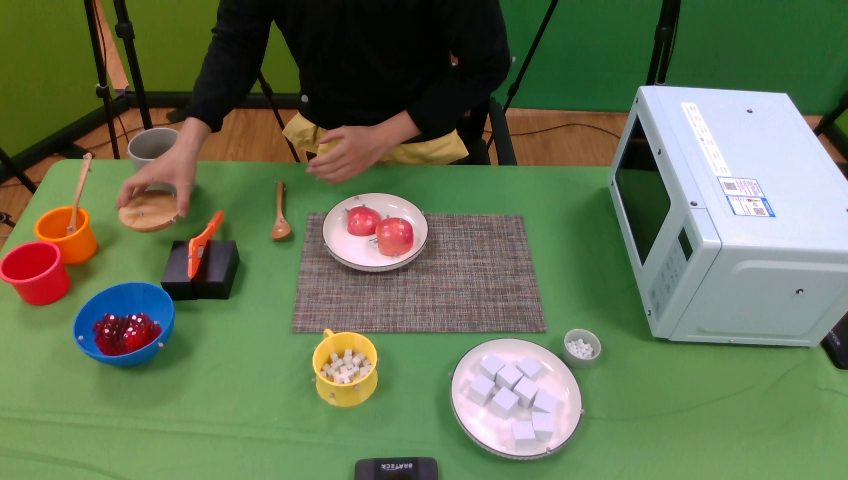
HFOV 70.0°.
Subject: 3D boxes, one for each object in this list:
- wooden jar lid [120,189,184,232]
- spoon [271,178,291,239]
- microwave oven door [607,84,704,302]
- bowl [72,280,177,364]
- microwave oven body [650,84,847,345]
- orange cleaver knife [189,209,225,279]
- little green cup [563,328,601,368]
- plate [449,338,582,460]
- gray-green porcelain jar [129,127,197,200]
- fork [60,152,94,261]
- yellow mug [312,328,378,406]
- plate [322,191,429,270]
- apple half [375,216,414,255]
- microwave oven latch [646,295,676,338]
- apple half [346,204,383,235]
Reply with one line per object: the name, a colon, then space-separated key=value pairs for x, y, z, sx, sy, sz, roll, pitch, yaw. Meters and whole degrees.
wooden jar lid: x=-0.497 y=-0.053 z=1.112 sx=0.108 sy=0.021 sz=0.107 roll=3 pitch=44 yaw=-3
spoon: x=-0.292 y=-0.069 z=1.237 sx=0.041 sy=0.022 sz=0.192 roll=-22 pitch=48 yaw=10
microwave oven door: x=0.424 y=-0.096 z=1.137 sx=0.039 sy=0.245 sz=0.353 roll=3 pitch=46 yaw=-1
bowl: x=-0.473 y=0.147 z=0.982 sx=0.151 sy=0.077 sz=0.150 roll=2 pitch=46 yaw=-2
microwave oven body: x=0.569 y=-0.054 z=1.116 sx=0.326 sy=0.261 sz=0.439 roll=2 pitch=46 yaw=-1
orange cleaver knife: x=-0.400 y=0.002 z=1.122 sx=0.012 sy=0.077 sz=0.210 roll=0 pitch=23 yaw=-3
little green cup: x=0.266 y=0.185 z=1.025 sx=0.061 sy=0.039 sz=0.061 roll=1 pitch=45 yaw=-1
plate: x=0.141 y=0.251 z=0.956 sx=0.208 sy=0.039 sz=0.206 roll=2 pitch=46 yaw=-2
gray-green porcelain jar: x=-0.521 y=-0.147 z=1.224 sx=0.106 sy=0.127 sz=0.105 roll=2 pitch=47 yaw=-2
fork: x=-0.638 y=-0.063 z=1.119 sx=0.028 sy=0.018 sz=0.207 roll=12 pitch=90 yaw=7
yellow mug: x=-0.132 y=0.193 z=0.971 sx=0.100 sy=0.064 sz=0.130 roll=-22 pitch=51 yaw=-22
plate: x=-0.093 y=-0.015 z=1.185 sx=0.209 sy=0.038 sz=0.208 roll=2 pitch=46 yaw=-2
apple half: x=-0.056 y=-0.017 z=1.169 sx=0.075 sy=0.053 sz=0.080 roll=0 pitch=46 yaw=-7
microwave oven latch: x=0.413 y=0.133 z=1.061 sx=0.030 sy=0.029 sz=0.078 roll=4 pitch=46 yaw=1
apple half: x=-0.119 y=-0.049 z=1.207 sx=0.081 sy=0.033 sz=0.081 roll=2 pitch=50 yaw=-3
